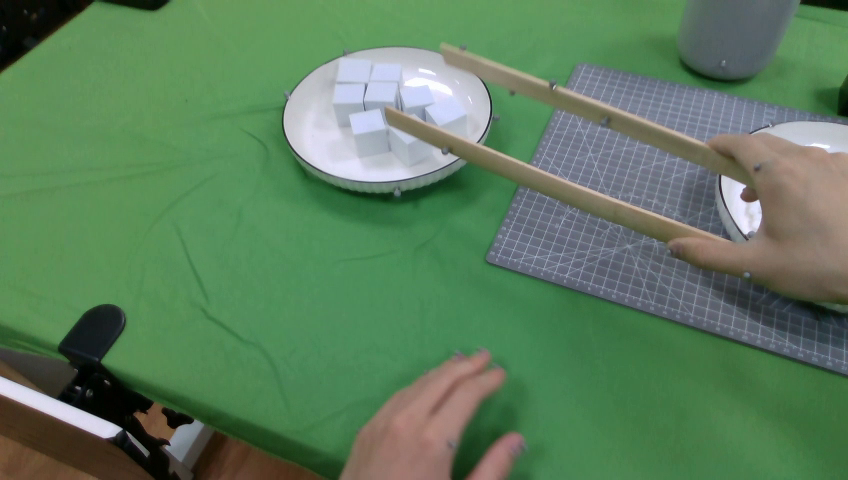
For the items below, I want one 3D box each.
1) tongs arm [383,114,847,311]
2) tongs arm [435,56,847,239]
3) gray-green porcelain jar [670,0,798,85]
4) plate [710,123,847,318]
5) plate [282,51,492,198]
[{"bbox_3d":[0.126,-0.032,0.450,0.384,0.028,0.028,24,62,25],"label":"tongs arm"},{"bbox_3d":[0.153,-0.066,0.465,0.382,0.027,0.050,27,66,26],"label":"tongs arm"},{"bbox_3d":[0.323,-0.237,0.634,0.106,0.127,0.105,-2,51,2],"label":"gray-green porcelain jar"},{"bbox_3d":[0.348,-0.017,0.510,0.209,0.038,0.207,-1,51,2],"label":"plate"},{"bbox_3d":[-0.036,-0.116,0.613,0.207,0.039,0.205,-1,52,2],"label":"plate"}]
